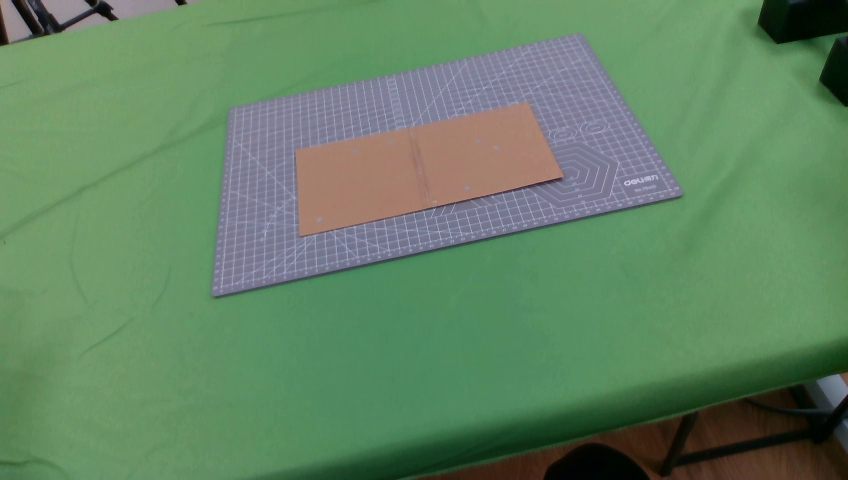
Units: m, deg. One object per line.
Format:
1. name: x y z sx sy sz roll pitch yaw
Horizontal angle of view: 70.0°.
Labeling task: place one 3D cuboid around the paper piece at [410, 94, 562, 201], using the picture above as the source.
1. paper piece: 0.060 -0.102 0.638 0.135 0.004 0.134 -13 48 0

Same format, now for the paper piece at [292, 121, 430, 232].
1. paper piece: -0.071 -0.072 0.637 0.138 0.009 0.134 -12 46 1
